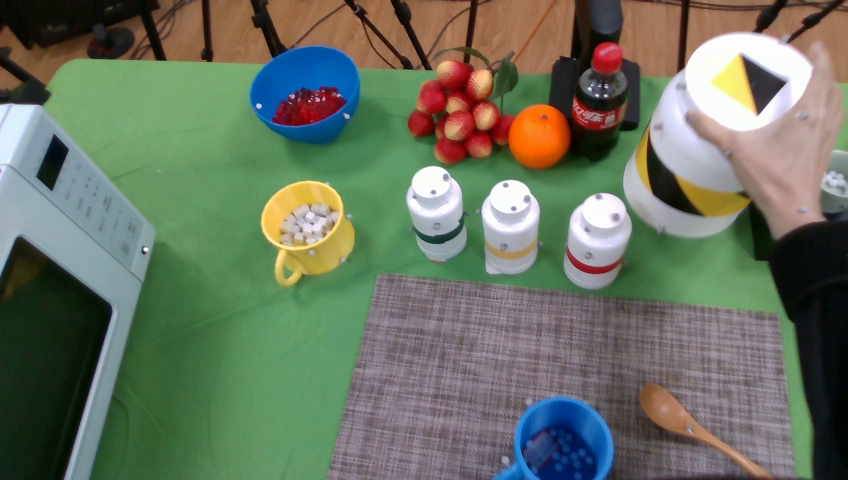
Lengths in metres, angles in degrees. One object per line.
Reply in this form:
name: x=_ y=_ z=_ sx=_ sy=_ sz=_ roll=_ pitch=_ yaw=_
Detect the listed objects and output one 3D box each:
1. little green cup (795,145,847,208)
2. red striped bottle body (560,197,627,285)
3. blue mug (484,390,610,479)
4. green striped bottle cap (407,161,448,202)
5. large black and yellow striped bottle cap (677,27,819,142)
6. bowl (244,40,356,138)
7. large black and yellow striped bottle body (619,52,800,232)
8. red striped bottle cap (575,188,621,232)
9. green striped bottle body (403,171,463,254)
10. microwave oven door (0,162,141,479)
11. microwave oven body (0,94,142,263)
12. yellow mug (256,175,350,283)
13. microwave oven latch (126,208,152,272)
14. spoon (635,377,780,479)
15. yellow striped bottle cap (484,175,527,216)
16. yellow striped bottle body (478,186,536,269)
little green cup: x=0.434 y=-0.066 z=0.651 sx=0.061 sy=0.039 sz=0.061 roll=-3 pitch=59 yaw=5
red striped bottle body: x=0.184 y=-0.005 z=0.660 sx=0.063 sy=0.121 sz=0.062 roll=-3 pitch=58 yaw=6
blue mug: x=0.107 y=0.201 z=0.556 sx=0.116 sy=0.107 sz=0.081 roll=-25 pitch=59 yaw=-6
green striped bottle cap: x=0.003 y=-0.064 z=0.658 sx=0.044 sy=0.020 sz=0.044 roll=-2 pitch=59 yaw=4
large black and yellow striped bottle cap: x=0.283 y=-0.139 z=0.532 sx=0.115 sy=0.019 sz=0.114 roll=-1 pitch=66 yaw=3
bowl: x=-0.161 y=-0.195 z=0.842 sx=0.151 sy=0.077 sz=0.150 roll=-3 pitch=60 yaw=6
large black and yellow striped bottle body: x=0.285 y=-0.103 z=0.610 sx=0.131 sy=0.185 sz=0.129 roll=0 pitch=65 yaw=1
red striped bottle cap: x=0.177 y=-0.031 z=0.615 sx=0.044 sy=0.018 sz=0.044 roll=-1 pitch=59 yaw=3
green striped bottle body: x=0.011 y=-0.038 z=0.703 sx=0.063 sy=0.120 sz=0.062 roll=-3 pitch=60 yaw=6
microwave oven door: x=-0.381 y=0.139 z=0.562 sx=0.039 sy=0.246 sz=0.352 roll=-3 pitch=60 yaw=7
microwave oven body: x=-0.525 y=0.113 z=0.602 sx=0.326 sy=0.262 sz=0.437 roll=-3 pitch=60 yaw=6
yellow mug: x=-0.152 y=-0.008 z=0.739 sx=0.099 sy=0.064 sz=0.130 roll=14 pitch=64 yaw=15
microwave oven latch: x=-0.364 y=0.001 z=0.757 sx=0.030 sy=0.030 sz=0.078 roll=-1 pitch=61 yaw=6
spoon: x=0.287 y=0.199 z=0.581 sx=0.192 sy=0.022 sz=0.041 roll=35 pitch=48 yaw=23
yellow striped bottle cap: x=0.086 y=-0.047 z=0.637 sx=0.044 sy=0.019 sz=0.044 roll=-1 pitch=58 yaw=2
yellow striped bottle body: x=0.094 y=-0.021 z=0.682 sx=0.063 sy=0.121 sz=0.062 roll=-4 pitch=59 yaw=6
